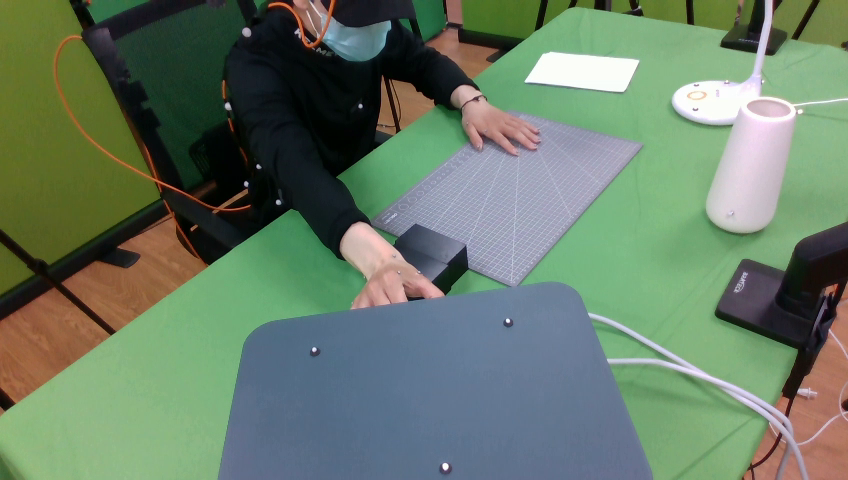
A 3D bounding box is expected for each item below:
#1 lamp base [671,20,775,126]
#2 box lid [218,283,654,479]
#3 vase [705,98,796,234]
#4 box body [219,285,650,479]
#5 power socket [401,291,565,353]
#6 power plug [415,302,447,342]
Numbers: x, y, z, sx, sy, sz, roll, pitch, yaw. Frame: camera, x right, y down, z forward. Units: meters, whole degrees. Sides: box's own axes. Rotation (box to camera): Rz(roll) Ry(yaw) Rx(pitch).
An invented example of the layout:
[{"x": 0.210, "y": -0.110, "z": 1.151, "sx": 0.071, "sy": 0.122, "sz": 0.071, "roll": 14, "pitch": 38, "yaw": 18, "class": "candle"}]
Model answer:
[{"x": 0.581, "y": -0.332, "z": 1.154, "sx": 0.179, "sy": 0.181, "sz": 0.160, "roll": 2, "pitch": 41, "yaw": 7, "class": "lamp base"}, {"x": -0.004, "y": 0.154, "z": 0.571, "sx": 0.372, "sy": 0.015, "sz": 0.261, "roll": -8, "pitch": 40, "yaw": -1, "class": "box lid"}, {"x": 0.480, "y": -0.103, "z": 0.889, "sx": 0.098, "sy": 0.201, "sz": 0.097, "roll": -4, "pitch": 42, "yaw": 4, "class": "vase"}, {"x": 0.006, "y": 0.210, "z": 0.618, "sx": 0.364, "sy": 0.161, "sz": 0.252, "roll": -8, "pitch": 40, "yaw": -1, "class": "box body"}, {"x": 0.080, "y": 0.111, "z": 0.823, "sx": 0.227, "sy": 0.033, "sz": 0.072, "roll": -5, "pitch": 41, "yaw": 2, "class": "power socket"}, {"x": 0.009, "y": 0.113, "z": 0.779, "sx": 0.035, "sy": 0.053, "sz": 0.072, "roll": -16, "pitch": 53, "yaw": 3, "class": "power plug"}]
